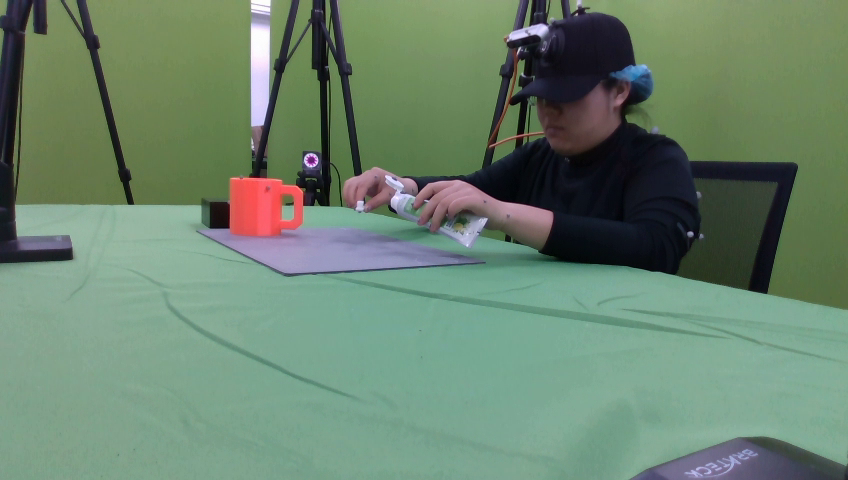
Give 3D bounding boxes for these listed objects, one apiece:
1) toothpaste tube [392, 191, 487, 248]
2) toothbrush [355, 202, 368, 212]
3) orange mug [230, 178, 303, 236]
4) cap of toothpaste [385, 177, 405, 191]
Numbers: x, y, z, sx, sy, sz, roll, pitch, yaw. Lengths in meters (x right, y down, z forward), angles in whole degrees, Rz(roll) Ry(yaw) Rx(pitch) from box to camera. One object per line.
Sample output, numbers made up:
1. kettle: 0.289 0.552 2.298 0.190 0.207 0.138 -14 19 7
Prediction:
1. toothpaste tube: 0.016 -0.039 0.917 0.164 0.055 0.035 24 -9 31
2. toothbrush: -0.108 -0.059 1.046 0.014 0.016 0.181 -3 4 -2
3. orange mug: -0.275 -0.060 1.058 0.126 0.101 0.083 -2 8 -5
4. cap of toothpaste: -0.047 -0.088 0.958 0.037 0.011 0.037 27 20 -10
